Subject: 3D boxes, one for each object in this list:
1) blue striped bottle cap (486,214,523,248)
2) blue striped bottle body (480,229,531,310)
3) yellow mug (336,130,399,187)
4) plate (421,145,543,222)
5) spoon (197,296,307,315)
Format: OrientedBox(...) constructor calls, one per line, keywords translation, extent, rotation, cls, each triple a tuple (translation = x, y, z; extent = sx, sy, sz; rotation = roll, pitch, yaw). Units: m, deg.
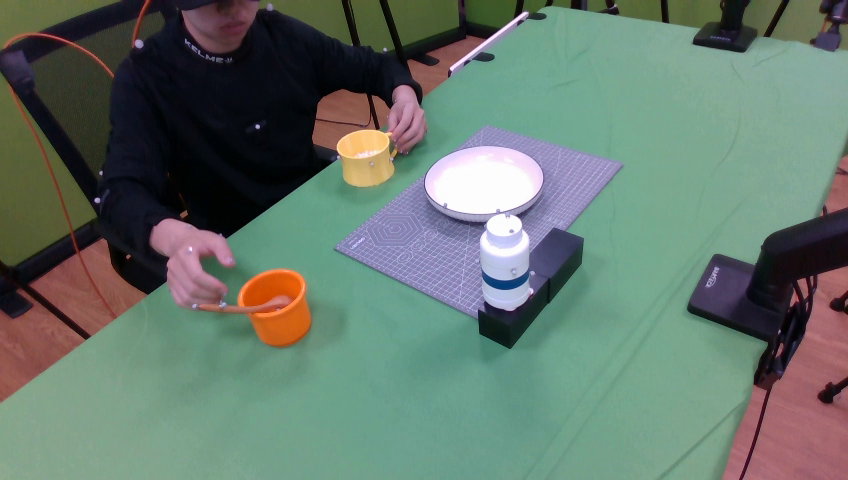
OrientedBox(translation=(0.098, -0.011, 0.735), extent=(0.044, 0.021, 0.044), rotation=(-3, 38, 3), cls="blue striped bottle cap")
OrientedBox(translation=(0.104, 0.027, 0.769), extent=(0.063, 0.121, 0.063), rotation=(-4, 40, 4), cls="blue striped bottle body")
OrientedBox(translation=(-0.098, -0.161, 1.138), extent=(0.131, 0.064, 0.099), rotation=(-33, 47, -28), cls="yellow mug")
OrientedBox(translation=(0.101, -0.094, 1.048), extent=(0.207, 0.039, 0.206), rotation=(-4, 41, 4), cls="plate")
OrientedBox(translation=(-0.219, 0.088, 0.792), extent=(0.041, 0.021, 0.195), rotation=(19, 7, 26), cls="spoon")
